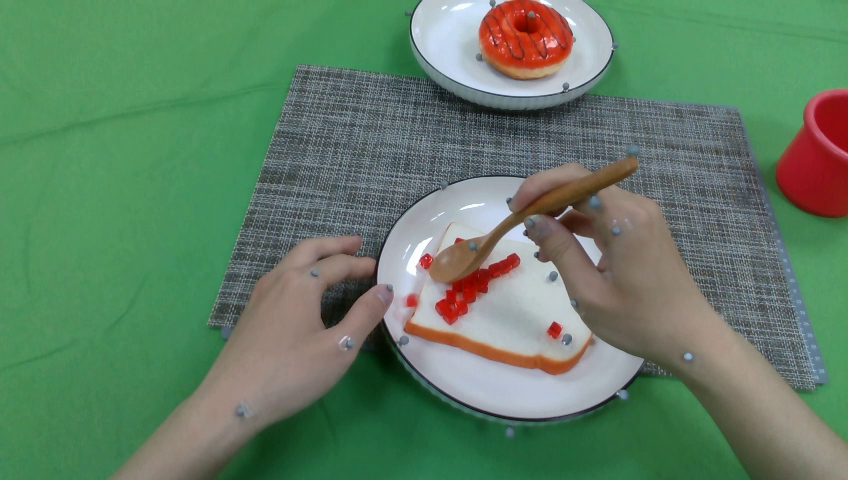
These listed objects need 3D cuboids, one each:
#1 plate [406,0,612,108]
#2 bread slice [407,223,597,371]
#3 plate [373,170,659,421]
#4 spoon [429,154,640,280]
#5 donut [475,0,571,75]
[{"bbox_3d":[0.085,-0.203,0.625,0.208,0.039,0.205,2,53,-3],"label":"plate"},{"bbox_3d":[0.064,0.041,0.456,0.131,0.019,0.104,14,56,10],"label":"bread slice"},{"bbox_3d":[0.066,0.036,0.455,0.209,0.038,0.207,1,55,-2],"label":"plate"},{"bbox_3d":[0.057,-0.010,0.377,0.022,0.194,0.041,38,58,-10],"label":"spoon"},{"bbox_3d":[0.100,-0.207,0.615,0.099,0.048,0.098,2,56,-3],"label":"donut"}]
